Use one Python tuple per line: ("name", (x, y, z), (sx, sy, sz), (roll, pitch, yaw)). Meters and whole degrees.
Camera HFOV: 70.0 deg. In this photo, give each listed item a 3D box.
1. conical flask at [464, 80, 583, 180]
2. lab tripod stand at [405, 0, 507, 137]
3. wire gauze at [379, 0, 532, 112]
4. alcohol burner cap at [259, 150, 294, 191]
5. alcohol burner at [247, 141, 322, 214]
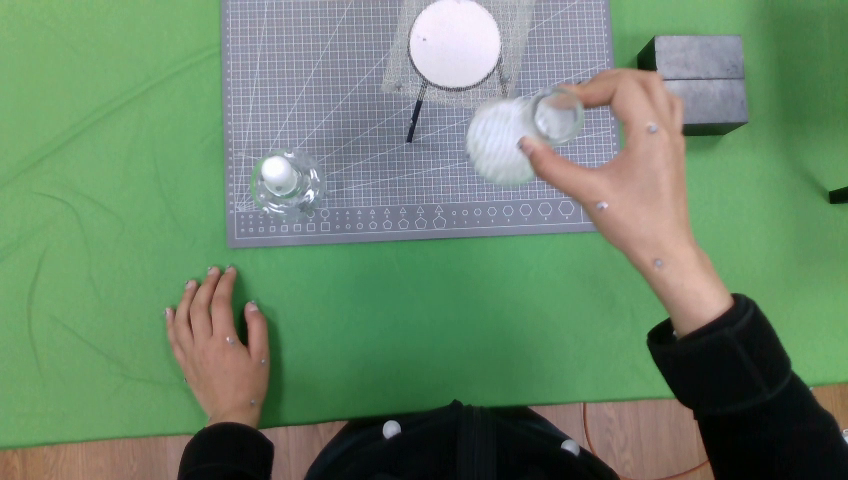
("conical flask", (0.077, -0.086, 0.449), (0.075, 0.121, 0.075), (0, 92, -9))
("lab tripod stand", (0.022, -0.184, 0.631), (0.148, 0.131, 0.148), (0, 85, -1))
("wire gauze", (0.031, -0.189, 0.564), (0.121, 0.011, 0.125), (15, 84, -1))
("alcohol burner cap", (-0.145, -0.070, 0.586), (0.034, 0.048, 0.033), (1, 80, -6))
("alcohol burner", (-0.146, -0.067, 0.621), (0.078, 0.119, 0.078), (0, 86, -2))
